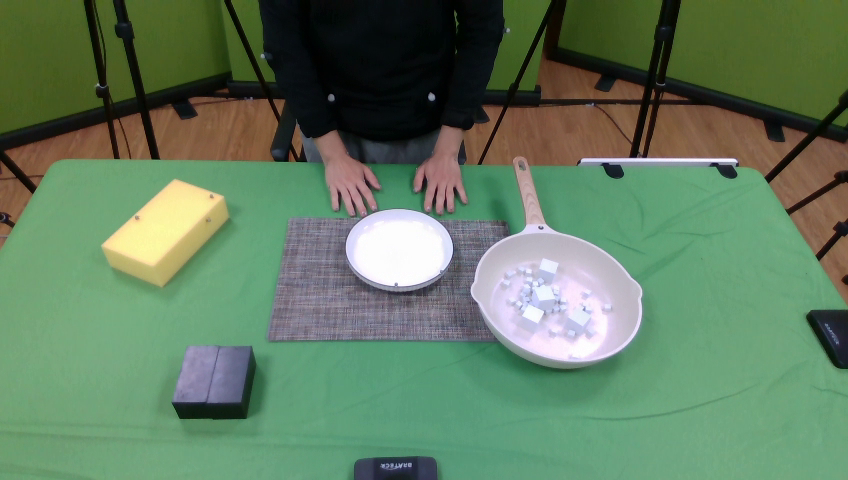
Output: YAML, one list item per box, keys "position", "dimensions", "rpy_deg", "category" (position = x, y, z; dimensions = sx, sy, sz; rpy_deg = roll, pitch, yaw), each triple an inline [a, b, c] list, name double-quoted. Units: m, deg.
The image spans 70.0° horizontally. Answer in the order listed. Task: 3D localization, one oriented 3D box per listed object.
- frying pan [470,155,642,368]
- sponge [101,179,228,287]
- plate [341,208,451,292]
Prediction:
- position: [0.222, 0.022, 1.134]
  dimensions: [0.307, 0.103, 0.484]
  rpy_deg: [0, 55, -7]
  category: "frying pan"
- position: [-0.486, -0.018, 1.151]
  dimensions: [0.118, 0.061, 0.206]
  rpy_deg: [19, 47, 12]
  category: "sponge"
- position: [-0.053, 0.022, 1.156]
  dimensions: [0.208, 0.039, 0.206]
  rpy_deg: [2, 46, -2]
  category: "plate"
